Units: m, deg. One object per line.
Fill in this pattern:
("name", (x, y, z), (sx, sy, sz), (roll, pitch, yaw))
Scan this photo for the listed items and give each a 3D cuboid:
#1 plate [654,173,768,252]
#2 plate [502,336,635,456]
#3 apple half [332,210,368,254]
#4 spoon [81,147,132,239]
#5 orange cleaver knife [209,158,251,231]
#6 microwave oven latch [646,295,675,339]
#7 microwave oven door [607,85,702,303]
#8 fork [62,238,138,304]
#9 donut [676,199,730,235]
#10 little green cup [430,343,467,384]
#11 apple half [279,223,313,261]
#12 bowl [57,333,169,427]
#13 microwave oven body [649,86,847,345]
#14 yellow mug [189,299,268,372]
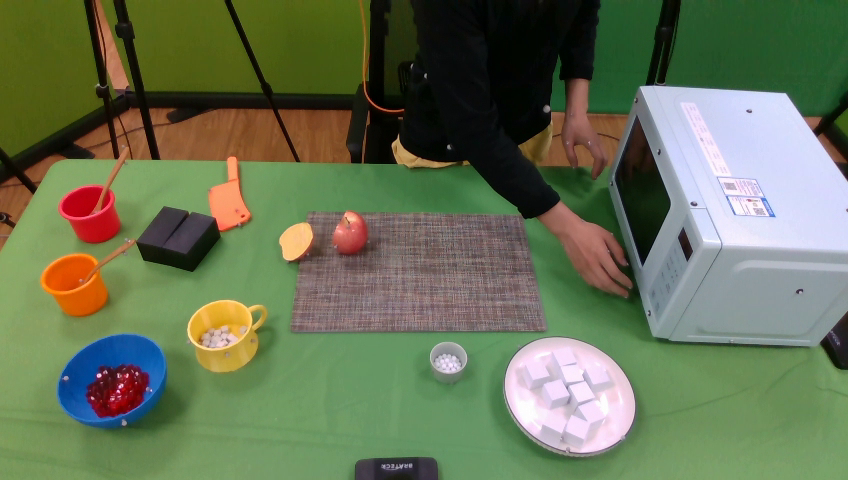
("plate", (0.556, -0.050, 1.187), (0.209, 0.038, 0.208), (1, 47, -1))
("plate", (0.225, 0.248, 0.963), (0.208, 0.039, 0.206), (2, 46, -2))
("apple half", (-0.135, -0.010, 1.158), (0.053, 0.075, 0.080), (17, 43, 8))
("spoon", (-0.603, -0.089, 1.156), (0.041, 0.022, 0.193), (28, 95, 21))
("orange cleaver knife", (-0.409, -0.099, 1.266), (0.077, 0.012, 0.210), (-14, 50, -10))
("microwave oven latch", (0.412, 0.134, 1.061), (0.030, 0.029, 0.078), (4, 45, 1))
("microwave oven door", (0.423, -0.094, 1.141), (0.039, 0.245, 0.353), (2, 46, -1))
("fork", (-0.547, 0.053, 1.019), (0.207, 0.019, 0.028), (-36, 41, 23))
("donut", (0.539, -0.046, 1.170), (0.099, 0.048, 0.098), (3, 34, -2))
("little green cup", (0.039, 0.203, 0.993), (0.061, 0.039, 0.061), (2, 46, -2))
("apple half", (-0.237, 0.007, 1.157), (0.081, 0.033, 0.081), (-13, 59, 23))
("bowl", (-0.456, 0.223, 0.912), (0.151, 0.077, 0.150), (3, 45, -3))
("microwave oven body", (0.567, -0.053, 1.118), (0.326, 0.261, 0.439), (2, 45, -1))
("yellow mug", (-0.316, 0.148, 1.002), (0.131, 0.064, 0.099), (-33, 56, -31))
